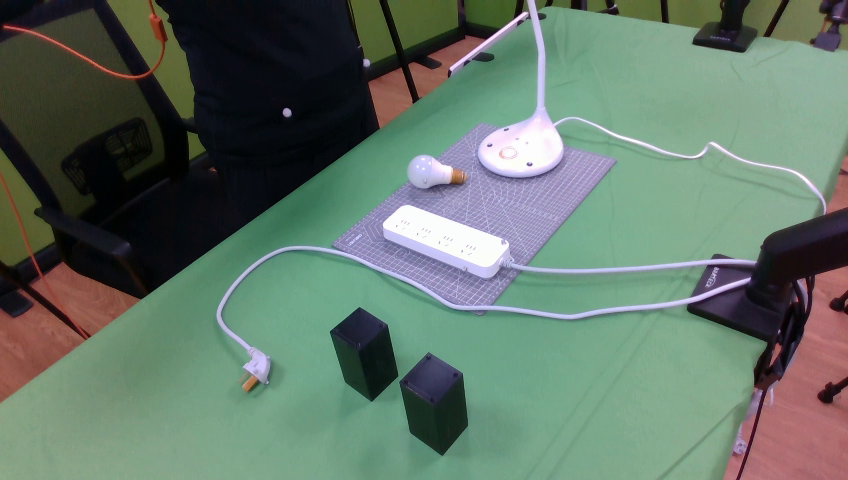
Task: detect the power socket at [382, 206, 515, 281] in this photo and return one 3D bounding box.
[{"bbox_3d":[0.032,0.002,0.950,0.225,0.033,0.072,21,49,29],"label":"power socket"}]

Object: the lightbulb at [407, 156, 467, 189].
[{"bbox_3d":[0.023,-0.117,1.080,0.108,0.059,0.059,7,40,-7],"label":"lightbulb"}]

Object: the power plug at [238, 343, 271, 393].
[{"bbox_3d":[-0.229,0.172,0.801,0.072,0.035,0.053,8,51,51],"label":"power plug"}]

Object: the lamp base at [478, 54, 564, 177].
[{"bbox_3d":[0.180,-0.232,1.090,0.159,0.181,0.180,21,45,30],"label":"lamp base"}]
